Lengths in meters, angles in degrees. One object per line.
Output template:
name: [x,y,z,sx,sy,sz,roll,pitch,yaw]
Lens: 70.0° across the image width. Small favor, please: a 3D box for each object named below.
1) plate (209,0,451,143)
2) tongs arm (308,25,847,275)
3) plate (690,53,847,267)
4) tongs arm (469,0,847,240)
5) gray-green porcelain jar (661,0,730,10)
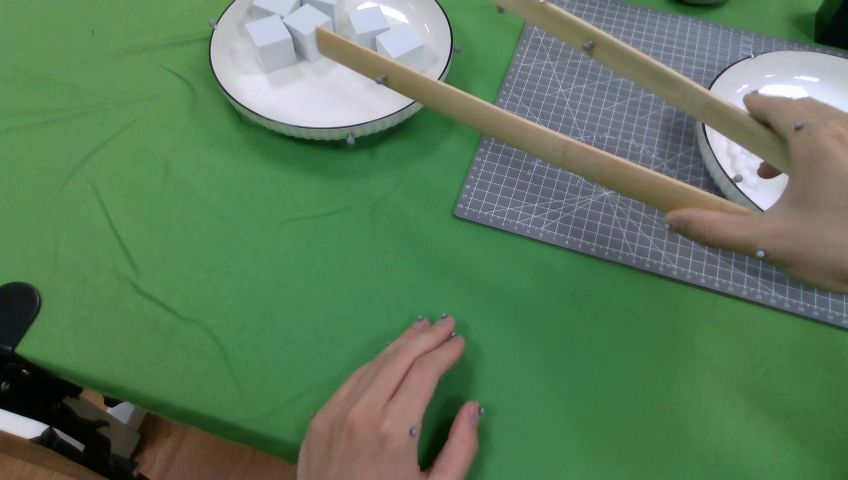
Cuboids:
plate: [-0.080,-0.162,0.538,0.208,0.039,0.205,1,58,-1]
tongs arm: [0.074,-0.069,0.396,0.385,0.028,0.028,28,55,20]
plate: [0.315,-0.065,0.485,0.209,0.038,0.207,1,58,-1]
tongs arm: [0.124,-0.115,0.427,0.051,0.027,0.381,-38,62,-25]
gray-green porcelain jar: [0.273,-0.297,0.579,0.106,0.127,0.105,1,58,-1]
